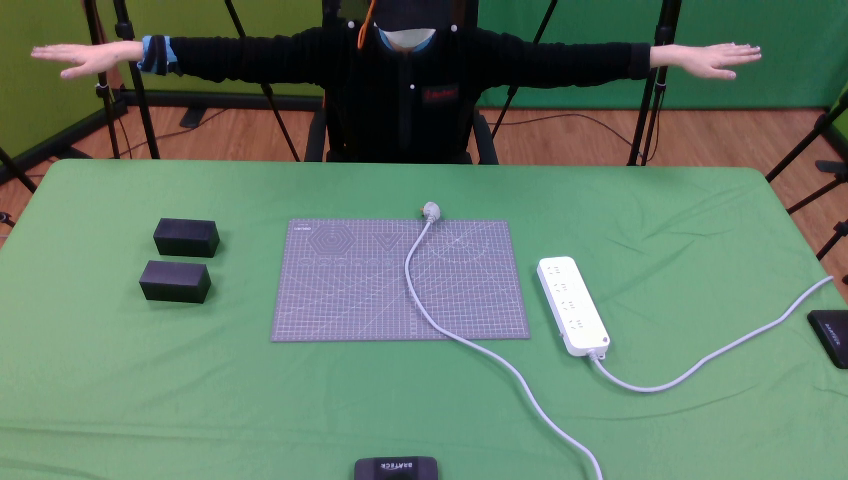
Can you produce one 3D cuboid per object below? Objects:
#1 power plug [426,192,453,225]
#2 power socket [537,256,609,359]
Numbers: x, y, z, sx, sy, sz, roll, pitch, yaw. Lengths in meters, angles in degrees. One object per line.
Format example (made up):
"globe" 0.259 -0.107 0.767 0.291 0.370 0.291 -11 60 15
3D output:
"power plug" 0.032 -0.062 1.228 0.035 0.072 0.052 -22 92 -36
"power socket" 0.266 0.115 1.097 0.072 0.033 0.225 -5 47 -8
